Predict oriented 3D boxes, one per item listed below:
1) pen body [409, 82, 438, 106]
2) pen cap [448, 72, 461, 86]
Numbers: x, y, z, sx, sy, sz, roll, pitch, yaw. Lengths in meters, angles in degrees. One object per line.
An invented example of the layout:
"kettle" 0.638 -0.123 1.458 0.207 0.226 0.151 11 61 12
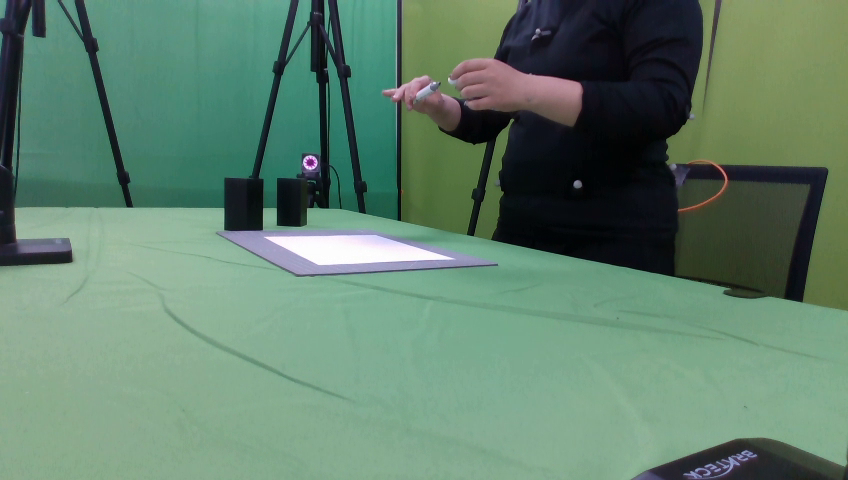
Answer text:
"pen body" 0.001 -0.278 1.146 0.017 0.017 0.143 0 -3 -19
"pen cap" 0.053 -0.274 1.031 0.017 0.017 0.038 1 29 -15
